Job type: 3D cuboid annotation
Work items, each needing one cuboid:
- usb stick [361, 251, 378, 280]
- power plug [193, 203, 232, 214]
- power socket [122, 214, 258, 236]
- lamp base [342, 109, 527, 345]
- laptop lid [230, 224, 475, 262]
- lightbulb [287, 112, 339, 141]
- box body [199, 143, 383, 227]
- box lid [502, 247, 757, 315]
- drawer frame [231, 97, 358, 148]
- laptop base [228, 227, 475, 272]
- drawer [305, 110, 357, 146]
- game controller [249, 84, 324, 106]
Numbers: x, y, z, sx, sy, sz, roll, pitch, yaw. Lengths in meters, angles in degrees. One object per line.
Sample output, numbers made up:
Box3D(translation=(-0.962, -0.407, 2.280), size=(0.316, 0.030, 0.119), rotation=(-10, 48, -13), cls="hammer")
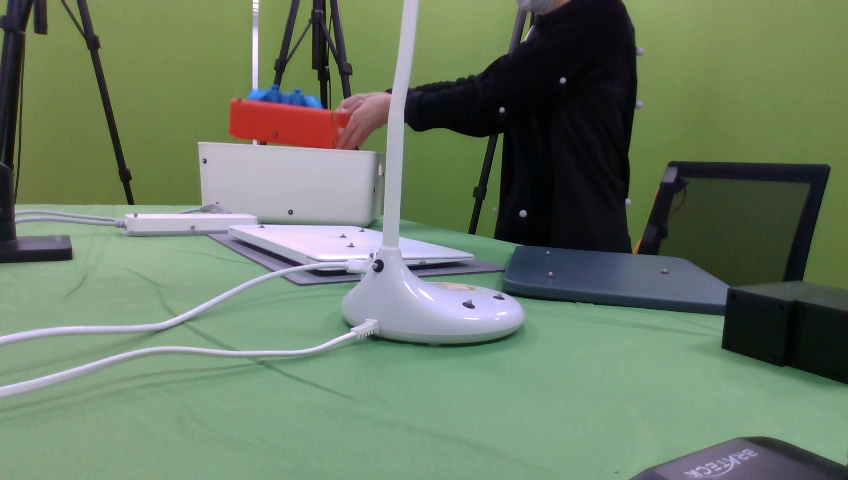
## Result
Box3D(translation=(-0.052, 0.033, 0.656), size=(0.027, 0.021, 0.059), rotation=(5, -27, -20), cls="usb stick")
Box3D(translation=(-0.394, -0.042, 1.140), size=(0.072, 0.052, 0.035), rotation=(-13, 2, 32), cls="power plug")
Box3D(translation=(-0.398, -0.028, 1.049), size=(0.228, 0.032, 0.072), rotation=(-3, 8, -34), cls="power socket")
Box3D(translation=(0.006, -0.015, 0.505), size=(0.160, 0.180, 0.180), rotation=(6, 11, 29), cls="lamp base")
Box3D(translation=(-0.120, 0.000, 0.889), size=(0.243, 0.013, 0.355), rotation=(1, 7, -33), cls="laptop lid")
Box3D(translation=(-0.232, -0.232, 1.265), size=(0.108, 0.059, 0.059), rotation=(-14, 12, -13), cls="lightbulb")
Box3D(translation=(-0.276, -0.124, 1.335), size=(0.364, 0.160, 0.254), rotation=(3, 7, 1), cls="box body")
Box3D(translation=(0.244, 0.044, 0.793), size=(0.263, 0.015, 0.372), rotation=(4, 7, 10), cls="box lid")
Box3D(translation=(-0.270, -0.250, 1.303), size=(0.213, 0.082, 0.202), rotation=(7, 9, 6), cls="drawer frame")
Box3D(translation=(-0.122, 0.011, 0.889), size=(0.237, 0.023, 0.352), rotation=(2, 6, -35), cls="laptop base")
Box3D(translation=(-0.269, -0.250, 1.303), size=(0.212, 0.073, 0.194), rotation=(7, 10, 6), cls="drawer")
Box3D(translation=(-0.293, -0.303, 1.296), size=(0.156, 0.051, 0.097), rotation=(4, 4, -17), cls="game controller")
